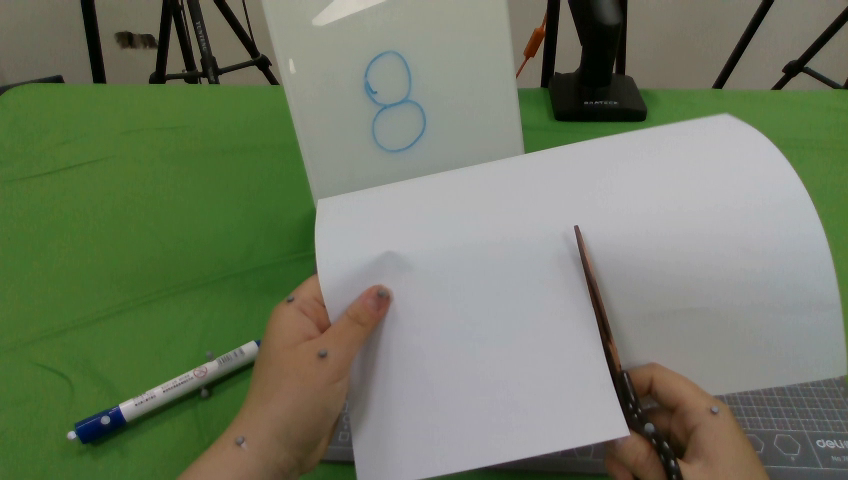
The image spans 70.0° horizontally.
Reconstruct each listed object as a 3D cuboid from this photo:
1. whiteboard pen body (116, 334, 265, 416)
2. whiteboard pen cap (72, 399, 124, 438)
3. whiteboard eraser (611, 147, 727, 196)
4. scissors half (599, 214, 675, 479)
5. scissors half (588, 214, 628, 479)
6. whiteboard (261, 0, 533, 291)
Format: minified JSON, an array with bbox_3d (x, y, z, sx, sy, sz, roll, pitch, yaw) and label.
[{"bbox_3d":[-0.192,0.109,0.474,0.141,0.017,0.017,-25,45,-28],"label":"whiteboard pen body"},{"bbox_3d":[-0.239,0.130,0.447,0.033,0.018,0.018,-26,46,-27],"label":"whiteboard pen cap"},{"bbox_3d":[0.269,-0.076,0.669,0.113,0.042,0.055,0,42,0],"label":"whiteboard eraser"},{"bbox_3d":[0.114,0.069,0.339,0.013,0.040,0.174,-3,74,-11],"label":"scissors half"},{"bbox_3d":[0.110,0.072,0.359,0.013,0.175,0.040,-3,4,-16],"label":"scissors half"},{"bbox_3d":[-0.036,-0.142,0.599,0.218,0.307,0.142,-18,22,-17],"label":"whiteboard"}]
